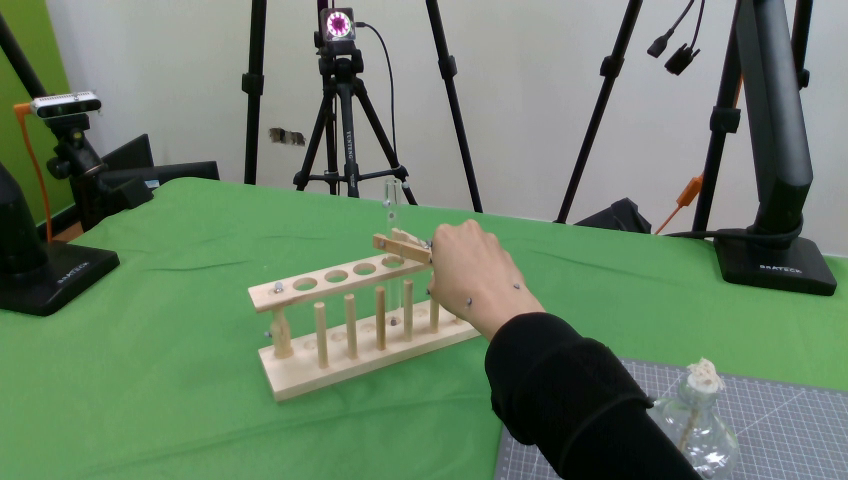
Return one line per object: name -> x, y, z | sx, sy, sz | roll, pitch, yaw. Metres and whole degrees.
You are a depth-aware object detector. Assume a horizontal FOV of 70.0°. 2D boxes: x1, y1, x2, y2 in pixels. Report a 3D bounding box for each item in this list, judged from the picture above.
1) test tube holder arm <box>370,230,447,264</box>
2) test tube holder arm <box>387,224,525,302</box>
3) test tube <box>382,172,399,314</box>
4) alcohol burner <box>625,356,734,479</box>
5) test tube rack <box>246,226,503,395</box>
test tube holder arm -> -0.014, 0.006, 0.563 | 0.087, 0.015, 0.010 | 13, 30, 32
test tube holder arm -> 0.022, 0.016, 0.538 | 0.013, 0.015, 0.176 | -24, 32, -34
test tube -> -0.032, 0.007, 0.590 | 0.017, 0.151, 0.017 | 1, 25, 0
alcohol burner -> 0.191, 0.130, 0.446 | 0.078, 0.120, 0.077 | 1, 32, 0
test tube rack -> -0.040, 0.063, 0.594 | 0.243, 0.086, 0.066 | -14, 34, -23
